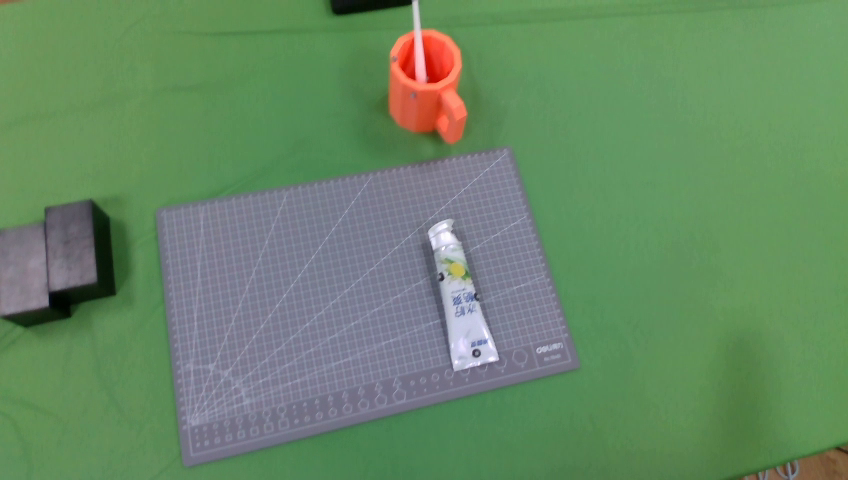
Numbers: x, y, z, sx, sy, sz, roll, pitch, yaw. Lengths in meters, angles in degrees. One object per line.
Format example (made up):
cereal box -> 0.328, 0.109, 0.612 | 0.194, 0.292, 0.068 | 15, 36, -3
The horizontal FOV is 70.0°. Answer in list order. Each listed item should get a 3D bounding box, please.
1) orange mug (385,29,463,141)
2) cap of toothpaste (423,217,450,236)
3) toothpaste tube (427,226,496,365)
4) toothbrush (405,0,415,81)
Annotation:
orange mug -> 0.004, -0.189, 0.765 | 0.083, 0.101, 0.125 | -33, 72, -15
cap of toothpaste -> 0.017, -0.016, 0.734 | 0.037, 0.037, 0.011 | -24, 71, -13
toothpaste tube -> 0.036, 0.061, 0.715 | 0.055, 0.035, 0.164 | -15, 76, -3
toothbrush -> -0.016, -0.234, 0.737 | 0.014, 0.183, 0.016 | -19, 37, -28
